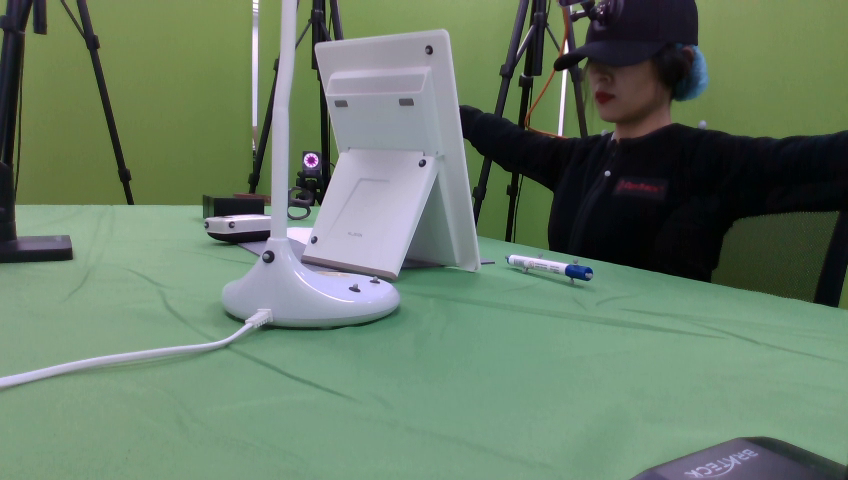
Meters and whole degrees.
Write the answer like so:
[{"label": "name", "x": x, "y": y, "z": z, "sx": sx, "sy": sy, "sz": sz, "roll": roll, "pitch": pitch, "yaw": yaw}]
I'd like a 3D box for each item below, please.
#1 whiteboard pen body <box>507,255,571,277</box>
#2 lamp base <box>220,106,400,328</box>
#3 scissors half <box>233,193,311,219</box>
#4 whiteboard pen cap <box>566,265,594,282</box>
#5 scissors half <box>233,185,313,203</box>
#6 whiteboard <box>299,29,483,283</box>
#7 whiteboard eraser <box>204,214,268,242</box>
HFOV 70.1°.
[{"label": "whiteboard pen body", "x": 0.155, "y": 0.034, "z": 0.772, "sx": 0.017, "sy": 0.017, "sz": 0.140, "roll": -2, "pitch": 7, "yaw": -31}, {"label": "lamp base", "x": -0.101, "y": -0.023, "z": 0.531, "sx": 0.160, "sy": 0.180, "sz": 0.179, "roll": 4, "pitch": 10, "yaw": 10}, {"label": "scissors half", "x": -0.330, "y": -0.078, "z": 1.319, "sx": 0.176, "sy": 0.040, "sz": 0.013, "roll": 16, "pitch": 3, "yaw": -32}, {"label": "whiteboard pen cap", "x": 0.185, "y": 0.040, "z": 0.722, "sx": 0.018, "sy": 0.018, "sz": 0.033, "roll": -3, "pitch": 6, "yaw": -33}, {"label": "scissors half", "x": -0.326, "y": -0.098, "z": 1.316, "sx": 0.176, "sy": 0.040, "sz": 0.012, "roll": -5, "pitch": 19, "yaw": -29}, {"label": "whiteboard", "x": -0.074, "y": -0.082, "z": 0.742, "sx": 0.216, "sy": 0.305, "sz": 0.144, "roll": 9, "pitch": 29, "yaw": 38}, {"label": "whiteboard eraser", "x": -0.285, "y": -0.019, "z": 0.960, "sx": 0.055, "sy": 0.042, "sz": 0.113, "roll": 9, "pitch": 10, "yaw": 36}]
